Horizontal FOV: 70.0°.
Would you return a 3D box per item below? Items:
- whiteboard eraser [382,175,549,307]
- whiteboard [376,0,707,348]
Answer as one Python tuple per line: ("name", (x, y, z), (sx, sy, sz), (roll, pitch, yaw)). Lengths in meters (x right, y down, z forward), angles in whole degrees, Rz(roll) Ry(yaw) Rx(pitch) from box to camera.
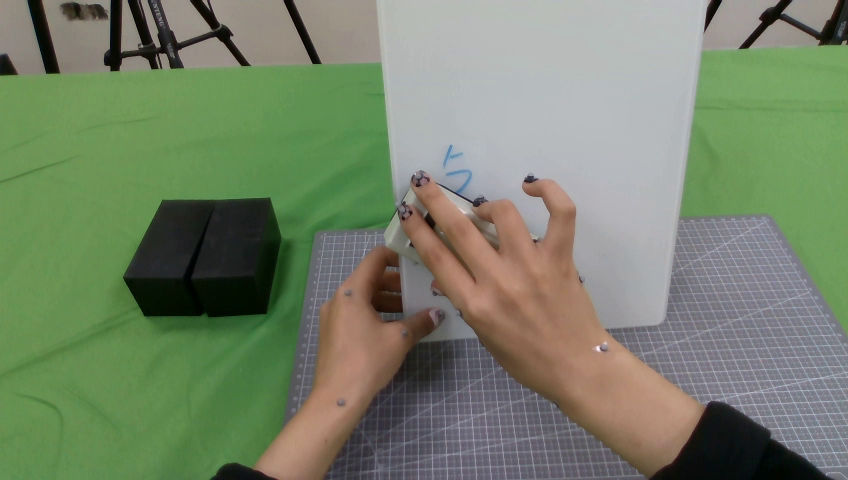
("whiteboard eraser", (0.030, 0.001, 0.440), (0.113, 0.056, 0.041), (27, 17, -12))
("whiteboard", (0.081, -0.086, 0.496), (0.217, 0.307, 0.142), (-3, 25, 0))
